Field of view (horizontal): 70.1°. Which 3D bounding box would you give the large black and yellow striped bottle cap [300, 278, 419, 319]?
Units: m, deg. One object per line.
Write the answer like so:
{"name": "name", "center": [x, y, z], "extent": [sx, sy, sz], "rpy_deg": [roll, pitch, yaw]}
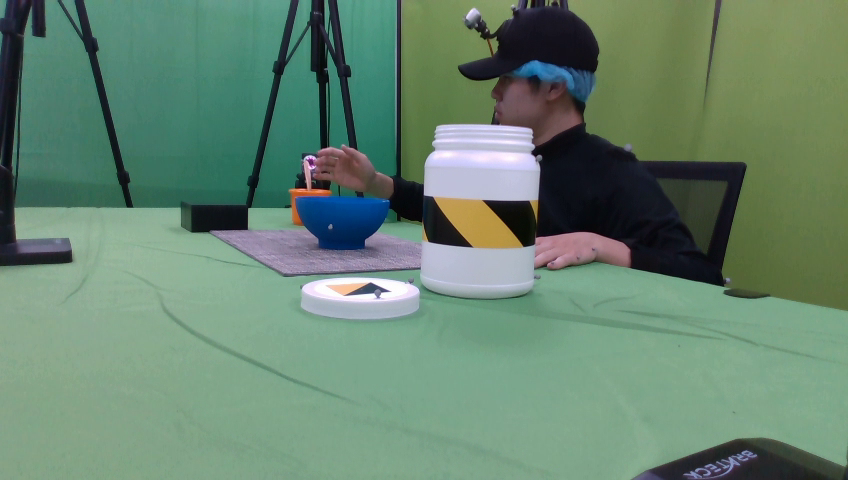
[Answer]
{"name": "large black and yellow striped bottle cap", "center": [-0.062, 0.055, 0.588], "extent": [0.115, 0.019, 0.115], "rpy_deg": [1, 6, 0]}

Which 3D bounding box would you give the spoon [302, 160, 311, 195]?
{"name": "spoon", "center": [-0.257, -0.113, 1.341], "extent": [0.042, 0.193, 0.021], "rpy_deg": [4, -38, -19]}

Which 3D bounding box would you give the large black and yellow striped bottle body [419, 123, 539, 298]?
{"name": "large black and yellow striped bottle body", "center": [0.062, -0.036, 0.683], "extent": [0.131, 0.184, 0.130], "rpy_deg": [2, 7, 0]}

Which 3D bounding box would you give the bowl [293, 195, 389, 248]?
{"name": "bowl", "center": [-0.132, -0.030, 0.961], "extent": [0.151, 0.077, 0.151], "rpy_deg": [2, 7, 0]}
